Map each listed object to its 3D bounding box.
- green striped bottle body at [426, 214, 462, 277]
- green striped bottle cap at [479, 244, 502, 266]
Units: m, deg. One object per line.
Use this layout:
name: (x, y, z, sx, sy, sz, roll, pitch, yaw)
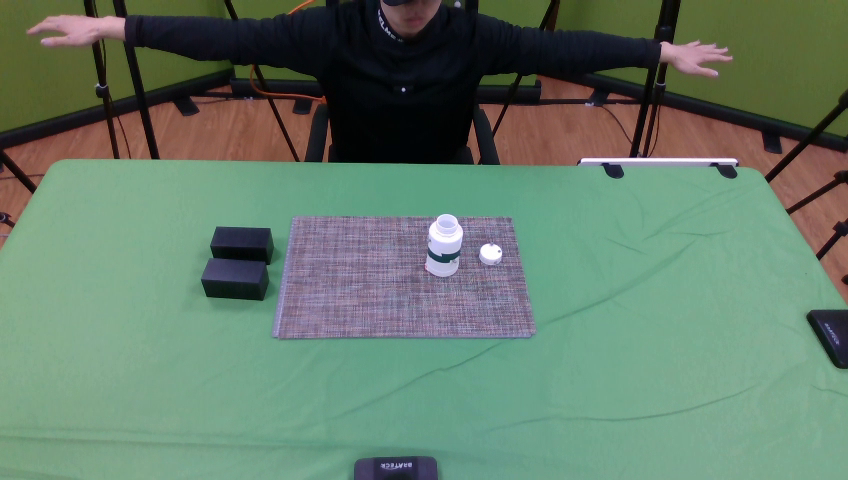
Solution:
green striped bottle body: (0.037, 0.008, 1.121, 0.063, 0.120, 0.063, 2, 46, -2)
green striped bottle cap: (0.130, 0.029, 1.181, 0.044, 0.020, 0.044, 0, 46, 0)
